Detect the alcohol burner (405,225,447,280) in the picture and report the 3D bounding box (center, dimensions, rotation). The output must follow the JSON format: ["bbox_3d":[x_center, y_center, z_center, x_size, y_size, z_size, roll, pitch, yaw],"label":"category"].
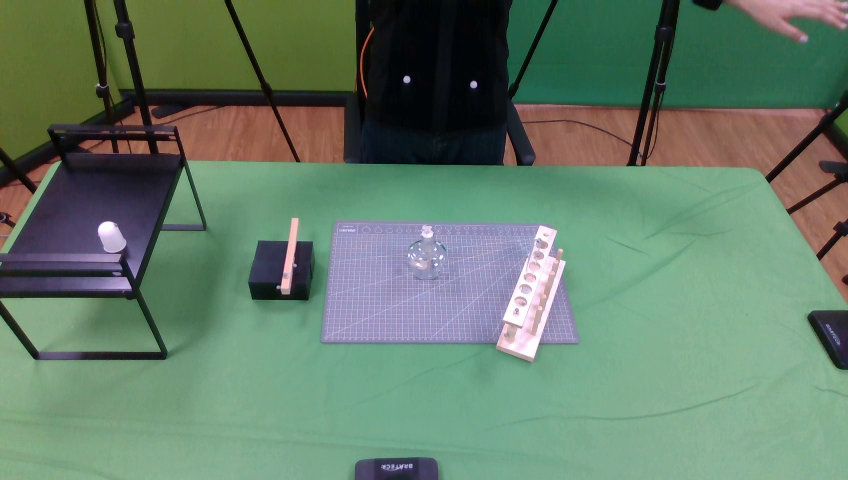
[{"bbox_3d":[0.004,0.017,1.115,0.078,0.120,0.077,1,47,-1],"label":"alcohol burner"}]

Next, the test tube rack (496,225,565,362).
[{"bbox_3d":[0.200,0.089,1.081,0.066,0.085,0.241,19,48,13],"label":"test tube rack"}]

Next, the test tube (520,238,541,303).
[{"bbox_3d":[0.182,0.056,1.042,0.017,0.151,0.017,1,44,-1],"label":"test tube"}]

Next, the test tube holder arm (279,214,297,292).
[{"bbox_3d":[-0.242,0.019,1.087,0.015,0.013,0.177,7,49,-12],"label":"test tube holder arm"}]

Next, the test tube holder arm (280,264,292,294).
[{"bbox_3d":[-0.241,0.057,1.062,0.015,0.010,0.087,7,49,-12],"label":"test tube holder arm"}]

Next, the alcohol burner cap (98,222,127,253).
[{"bbox_3d":[-0.468,-0.007,0.904,0.034,0.048,0.033,3,45,-3],"label":"alcohol burner cap"}]
